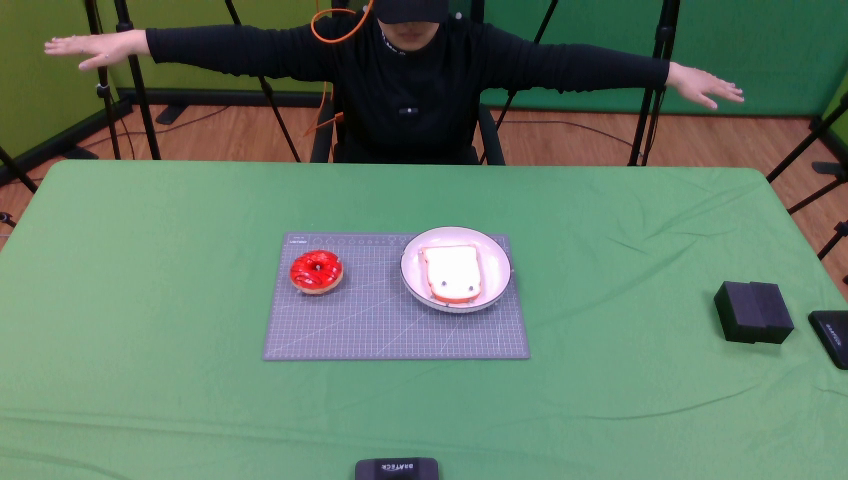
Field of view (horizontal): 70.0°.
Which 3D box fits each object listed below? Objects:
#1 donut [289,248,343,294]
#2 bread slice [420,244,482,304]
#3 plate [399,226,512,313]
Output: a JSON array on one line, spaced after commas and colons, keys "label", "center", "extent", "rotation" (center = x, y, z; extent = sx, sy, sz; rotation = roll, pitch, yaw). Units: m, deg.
[{"label": "donut", "center": [-0.197, 0.056, 1.111], "extent": [0.099, 0.048, 0.098], "rotation": [1, 45, -1]}, {"label": "bread slice", "center": [0.055, 0.062, 1.131], "extent": [0.107, 0.018, 0.133], "rotation": [-6, 47, -8]}, {"label": "plate", "center": [0.057, 0.057, 1.134], "extent": [0.209, 0.038, 0.208], "rotation": [2, 46, -2]}]
